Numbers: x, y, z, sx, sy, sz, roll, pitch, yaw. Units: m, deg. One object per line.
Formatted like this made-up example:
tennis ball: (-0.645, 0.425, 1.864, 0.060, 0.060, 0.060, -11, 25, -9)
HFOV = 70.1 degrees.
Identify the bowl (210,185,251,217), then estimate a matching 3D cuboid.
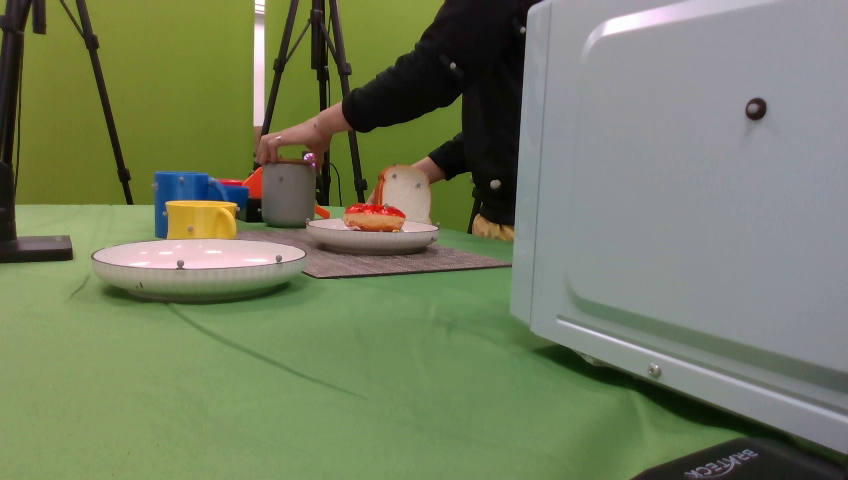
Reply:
bowl: (-0.408, -0.064, 1.155, 0.151, 0.077, 0.151, 2, 8, 0)

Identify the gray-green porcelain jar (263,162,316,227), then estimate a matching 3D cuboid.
gray-green porcelain jar: (-0.271, -0.092, 1.217, 0.106, 0.126, 0.106, 2, 7, 0)

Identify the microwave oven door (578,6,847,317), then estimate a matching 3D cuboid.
microwave oven door: (0.294, -0.067, 0.570, 0.358, 0.243, 0.039, -3, 9, -31)

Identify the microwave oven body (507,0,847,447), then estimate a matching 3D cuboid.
microwave oven body: (0.331, -0.042, 0.425, 0.444, 0.260, 0.324, -2, 8, -31)

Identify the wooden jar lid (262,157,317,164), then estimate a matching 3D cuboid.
wooden jar lid: (-0.269, -0.154, 1.209, 0.108, 0.020, 0.108, 3, 5, 0)

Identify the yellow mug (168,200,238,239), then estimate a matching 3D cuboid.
yellow mug: (-0.320, -0.023, 0.904, 0.130, 0.064, 0.100, 9, 11, 36)

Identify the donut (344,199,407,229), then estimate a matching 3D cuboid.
donut: (-0.076, -0.039, 0.949, 0.099, 0.048, 0.099, 3, 4, 0)

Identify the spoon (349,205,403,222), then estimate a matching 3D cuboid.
spoon: (-0.115, -0.066, 1.401, 0.042, 0.021, 0.192, -13, 23, -39)

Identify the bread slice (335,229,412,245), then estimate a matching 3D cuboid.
bread slice: (-0.074, -0.005, 0.938, 0.105, 0.019, 0.131, -2, 4, -19)

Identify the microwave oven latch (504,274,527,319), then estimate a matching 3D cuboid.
microwave oven latch: (0.100, 0.041, 0.471, 0.079, 0.029, 0.030, -1, 8, -28)

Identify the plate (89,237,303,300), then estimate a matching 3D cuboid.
plate: (-0.233, 0.029, 0.637, 0.208, 0.039, 0.207, 2, 7, 0)

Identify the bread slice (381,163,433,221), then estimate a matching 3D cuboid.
bread slice: (-0.035, -0.076, 1.125, 0.107, 0.134, 0.018, -4, 1, -26)

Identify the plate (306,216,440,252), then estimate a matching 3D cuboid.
plate: (-0.079, -0.011, 0.950, 0.209, 0.038, 0.209, 2, 8, 0)

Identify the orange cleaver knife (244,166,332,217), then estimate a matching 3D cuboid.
orange cleaver knife: (-0.301, -0.089, 1.351, 0.212, 0.077, 0.012, 32, -11, -34)

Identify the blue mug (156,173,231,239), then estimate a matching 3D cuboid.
blue mug: (-0.381, -0.057, 1.004, 0.117, 0.106, 0.082, 0, 8, -12)

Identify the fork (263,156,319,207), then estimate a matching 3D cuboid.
fork: (-0.331, -0.144, 1.505, 0.207, 0.018, 0.028, -42, -21, 22)
